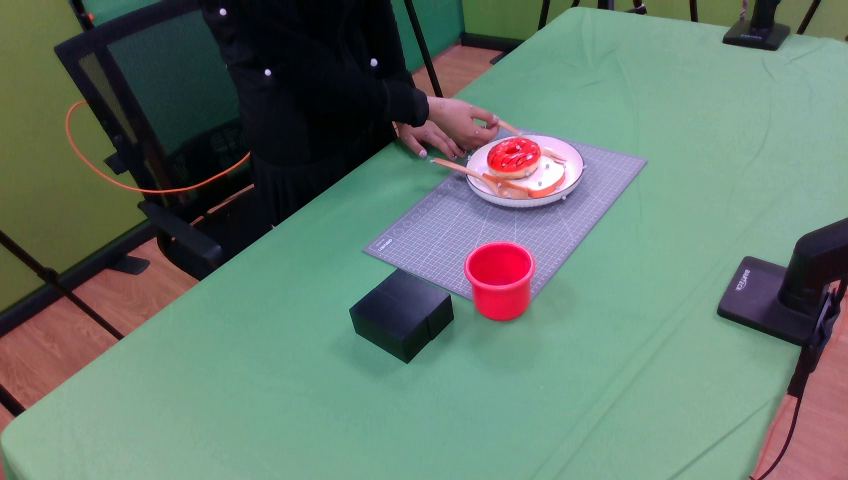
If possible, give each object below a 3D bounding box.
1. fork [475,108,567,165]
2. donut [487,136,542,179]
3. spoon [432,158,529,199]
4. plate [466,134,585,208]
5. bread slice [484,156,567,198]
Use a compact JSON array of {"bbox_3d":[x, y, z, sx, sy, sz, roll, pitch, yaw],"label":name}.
[{"bbox_3d":[0.177,-0.194,1.127,0.206,0.019,0.028,37,71,17],"label":"fork"},{"bbox_3d":[0.159,-0.146,1.068,0.099,0.048,0.098,-9,39,8],"label":"donut"},{"bbox_3d":[0.095,-0.108,1.055,0.192,0.022,0.042,30,47,21],"label":"spoon"},{"bbox_3d":[0.178,-0.120,1.075,0.209,0.038,0.208,-5,40,5],"label":"plate"},{"bbox_3d":[0.187,-0.120,1.077,0.130,0.019,0.105,27,53,37],"label":"bread slice"}]
